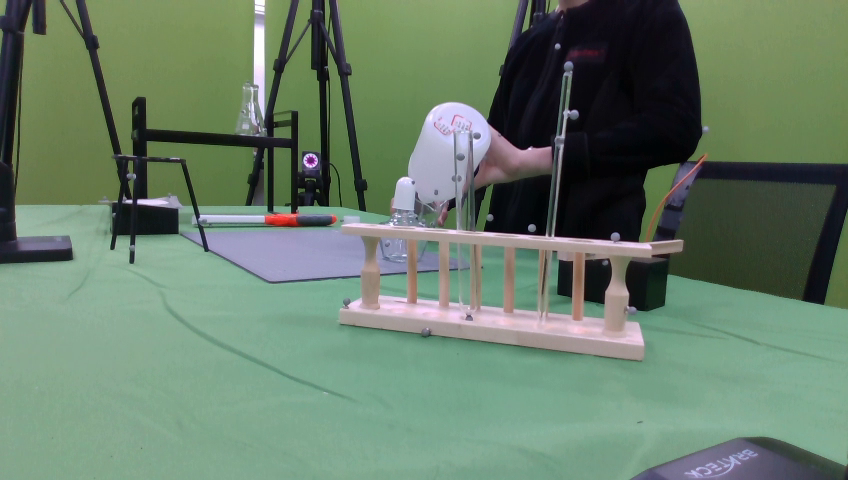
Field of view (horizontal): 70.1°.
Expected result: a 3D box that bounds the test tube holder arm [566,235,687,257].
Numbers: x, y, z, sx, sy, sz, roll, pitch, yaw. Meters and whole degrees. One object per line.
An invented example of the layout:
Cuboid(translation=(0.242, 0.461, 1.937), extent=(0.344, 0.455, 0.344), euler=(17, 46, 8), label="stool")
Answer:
Cuboid(translation=(0.215, 0.006, 0.630), extent=(0.179, 0.015, 0.013), euler=(-3, 9, -31), label="test tube holder arm")

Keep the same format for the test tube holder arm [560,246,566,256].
Cuboid(translation=(0.173, 0.007, 0.612), extent=(0.088, 0.015, 0.010), euler=(-3, 9, -30), label="test tube holder arm")

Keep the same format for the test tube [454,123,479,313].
Cuboid(translation=(0.034, -0.016, 0.477), extent=(0.017, 0.150, 0.017), euler=(-2, 9, 1), label="test tube")

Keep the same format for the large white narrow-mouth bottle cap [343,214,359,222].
Cuboid(translation=(-0.155, -0.043, 1.282), extent=(0.038, 0.024, 0.037), euler=(2, 8, 0), label="large white narrow-mouth bottle cap")

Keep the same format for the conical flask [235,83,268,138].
Cuboid(translation=(-0.402, -0.299, 1.406), extent=(0.075, 0.122, 0.075), euler=(2, 7, 0), label="conical flask")

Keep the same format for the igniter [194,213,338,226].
Cuboid(translation=(-0.306, -0.041, 1.197), extent=(0.278, 0.025, 0.057), euler=(-2, -2, -30), label="igniter")

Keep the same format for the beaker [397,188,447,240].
Cuboid(translation=(-0.002, -0.054, 1.056), extent=(0.074, 0.100, 0.083), euler=(-7, 50, -26), label="beaker")

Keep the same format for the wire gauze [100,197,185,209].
Cuboid(translation=(-0.469, -0.062, 1.008), extent=(0.126, 0.011, 0.121), euler=(-2, 8, -25), label="wire gauze")

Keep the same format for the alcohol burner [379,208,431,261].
Cuboid(translation=(-0.027, -0.031, 0.838), extent=(0.078, 0.119, 0.078), euler=(0, 6, 0), label="alcohol burner")

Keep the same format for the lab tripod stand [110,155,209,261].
Cuboid(translation=(-0.361, -0.046, 0.806), extent=(0.148, 0.131, 0.148), euler=(2, 5, 0), label="lab tripod stand")

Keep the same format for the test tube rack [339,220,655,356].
Cuboid(translation=(0.056, 0.032, 0.495), extent=(0.242, 0.085, 0.067), euler=(4, 7, 15), label="test tube rack")

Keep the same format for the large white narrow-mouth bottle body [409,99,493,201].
Cuboid(translation=(0.030, -0.123, 0.943), extent=(0.102, 0.101, 0.194), euler=(0, -28, -17), label="large white narrow-mouth bottle body")

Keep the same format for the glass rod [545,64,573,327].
Cuboid(translation=(0.101, -0.028, 0.453), extent=(0.008, 0.199, 0.008), euler=(1, 14, 0), label="glass rod")

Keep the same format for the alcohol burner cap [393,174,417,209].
Cuboid(translation=(-0.025, -0.067, 0.834), extent=(0.034, 0.048, 0.034), euler=(8, 7, -1), label="alcohol burner cap")
